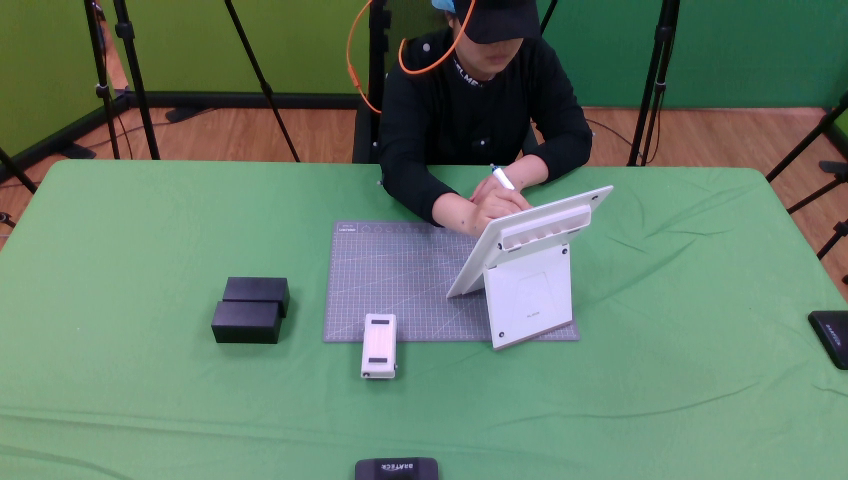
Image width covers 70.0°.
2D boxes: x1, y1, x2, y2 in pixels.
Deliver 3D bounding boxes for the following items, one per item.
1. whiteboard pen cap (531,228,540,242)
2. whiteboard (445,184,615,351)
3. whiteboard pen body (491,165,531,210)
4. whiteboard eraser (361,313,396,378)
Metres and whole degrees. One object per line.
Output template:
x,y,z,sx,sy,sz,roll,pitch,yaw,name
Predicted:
0.225,-0.011,1.221,0.018,0.018,0.033,12,29,8,whiteboard pen cap
0.187,0.066,0.989,0.217,0.306,0.143,-15,68,-18,whiteboard
0.157,-0.069,1.011,0.017,0.017,0.140,-27,74,-26,whiteboard pen body
-0.075,0.176,1.006,0.055,0.042,0.112,3,50,-4,whiteboard eraser
